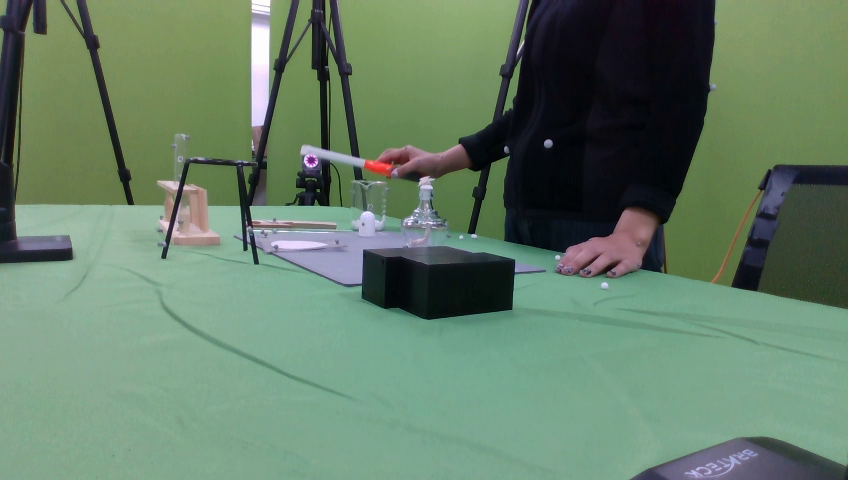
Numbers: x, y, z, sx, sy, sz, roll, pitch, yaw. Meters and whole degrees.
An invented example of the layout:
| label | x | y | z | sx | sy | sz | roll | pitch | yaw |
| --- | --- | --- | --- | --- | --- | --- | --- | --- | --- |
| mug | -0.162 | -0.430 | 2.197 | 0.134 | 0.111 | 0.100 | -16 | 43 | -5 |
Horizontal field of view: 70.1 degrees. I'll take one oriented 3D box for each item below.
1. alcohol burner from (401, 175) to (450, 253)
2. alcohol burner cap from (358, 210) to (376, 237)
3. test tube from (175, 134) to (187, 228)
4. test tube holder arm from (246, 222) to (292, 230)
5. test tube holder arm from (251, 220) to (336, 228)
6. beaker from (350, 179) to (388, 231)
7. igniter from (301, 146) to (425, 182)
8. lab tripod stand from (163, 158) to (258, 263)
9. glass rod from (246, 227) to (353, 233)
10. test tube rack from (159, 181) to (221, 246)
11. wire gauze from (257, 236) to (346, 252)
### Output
| label | x | y | z | sx | sy | sz | roll | pitch | yaw |
| --- | --- | --- | --- | --- | --- | --- | --- | --- | --- |
| alcohol burner | 0.003 | -0.040 | 0.933 | 0.078 | 0.119 | 0.078 | 2 | 9 | 0 |
| alcohol burner cap | -0.104 | -0.030 | 1.098 | 0.034 | 0.048 | 0.034 | 3 | 7 | 0 |
| test tube | -0.388 | -0.094 | 0.964 | 0.017 | 0.150 | 0.017 | 1 | 2 | 0 |
| test tube holder arm | -0.291 | -0.026 | 1.129 | 0.088 | 0.015 | 0.010 | -1 | 41 | -30 |
| test tube holder arm | -0.253 | -0.030 | 1.156 | 0.179 | 0.015 | 0.013 | -1 | 41 | -30 |
| beaker | -0.111 | -0.069 | 1.204 | 0.074 | 0.100 | 0.084 | 2 | 9 | 0 |
| igniter | -0.121 | -0.157 | 1.265 | 0.278 | 0.025 | 0.057 | 9 | 7 | -31 |
| lab tripod stand | -0.265 | -0.041 | 0.802 | 0.148 | 0.131 | 0.148 | 4 | 7 | 0 |
| glass rod | -0.224 | -0.017 | 1.109 | 0.201 | 0.008 | 0.008 | 1 | 7 | -27 |
| test tube rack | -0.395 | -0.050 | 1.010 | 0.067 | 0.085 | 0.241 | -2 | 8 | -28 |
| wire gauze | -0.189 | 0.005 | 0.931 | 0.122 | 0.011 | 0.124 | 1 | 7 | -21 |
